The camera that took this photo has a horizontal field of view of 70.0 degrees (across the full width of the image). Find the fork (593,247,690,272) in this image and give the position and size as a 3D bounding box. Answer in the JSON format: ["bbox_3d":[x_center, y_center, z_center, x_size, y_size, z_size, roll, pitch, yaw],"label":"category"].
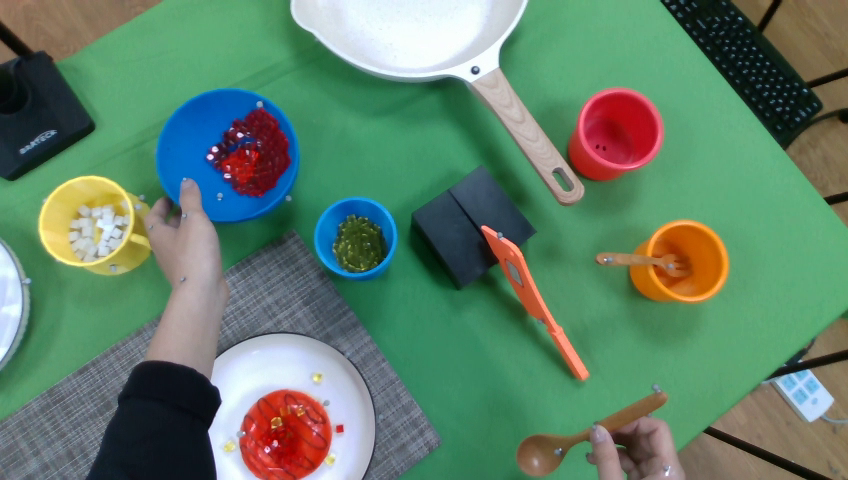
[{"bbox_3d":[0.240,0.018,0.655,0.209,0.018,0.028,5,78,-46],"label":"fork"}]

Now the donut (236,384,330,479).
[{"bbox_3d":[-0.149,0.203,0.645,0.099,0.048,0.099,1,83,-5],"label":"donut"}]

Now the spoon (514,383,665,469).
[{"bbox_3d":[0.150,0.176,0.568,0.022,0.194,0.041,-20,72,-41],"label":"spoon"}]

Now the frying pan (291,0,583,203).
[{"bbox_3d":[0.035,-0.241,0.712,0.307,0.103,0.485,-30,75,-7],"label":"frying pan"}]

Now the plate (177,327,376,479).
[{"bbox_3d":[-0.156,0.199,0.656,0.209,0.038,0.208,1,81,-3],"label":"plate"}]

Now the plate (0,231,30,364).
[{"bbox_3d":[-0.534,0.070,0.662,0.208,0.039,0.207,1,80,-3],"label":"plate"}]

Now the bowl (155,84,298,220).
[{"bbox_3d":[-0.213,-0.090,0.686,0.151,0.077,0.151,1,81,-3],"label":"bowl"}]

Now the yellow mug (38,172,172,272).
[{"bbox_3d":[-0.345,-0.013,0.672,0.131,0.064,0.099,18,79,-1],"label":"yellow mug"}]

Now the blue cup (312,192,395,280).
[{"bbox_3d":[-0.073,0.003,0.666,0.093,0.100,0.092,1,78,-2],"label":"blue cup"}]

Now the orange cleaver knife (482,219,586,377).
[{"bbox_3d":[0.122,0.066,0.676,0.012,0.076,0.213,-35,112,-8],"label":"orange cleaver knife"}]
